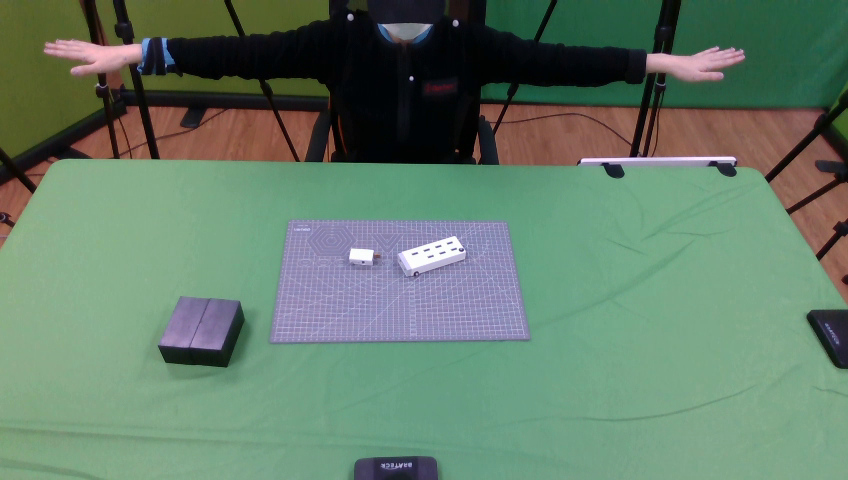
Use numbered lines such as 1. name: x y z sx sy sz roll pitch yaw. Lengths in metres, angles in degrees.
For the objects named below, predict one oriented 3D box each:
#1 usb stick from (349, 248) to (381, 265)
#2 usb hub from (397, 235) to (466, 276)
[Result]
1. usb stick: -0.112 0.032 1.151 0.059 0.021 0.027 2 57 0
2. usb hub: 0.015 0.030 1.162 0.125 0.025 0.049 -17 50 -19
